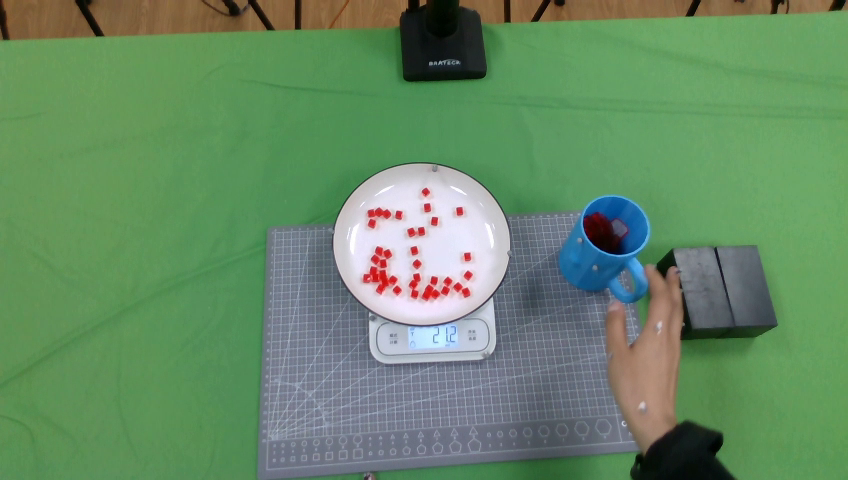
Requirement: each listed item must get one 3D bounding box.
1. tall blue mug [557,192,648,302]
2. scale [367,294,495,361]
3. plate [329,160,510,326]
[{"bbox_3d":[0.219,0.012,0.709,0.107,0.108,0.077,33,69,12],"label":"tall blue mug"},{"bbox_3d":[0.006,0.043,0.731,0.149,0.032,0.199,-2,68,-2],"label":"scale"},{"bbox_3d":[-0.004,0.004,0.711,0.209,0.038,0.207,1,67,-2],"label":"plate"}]
